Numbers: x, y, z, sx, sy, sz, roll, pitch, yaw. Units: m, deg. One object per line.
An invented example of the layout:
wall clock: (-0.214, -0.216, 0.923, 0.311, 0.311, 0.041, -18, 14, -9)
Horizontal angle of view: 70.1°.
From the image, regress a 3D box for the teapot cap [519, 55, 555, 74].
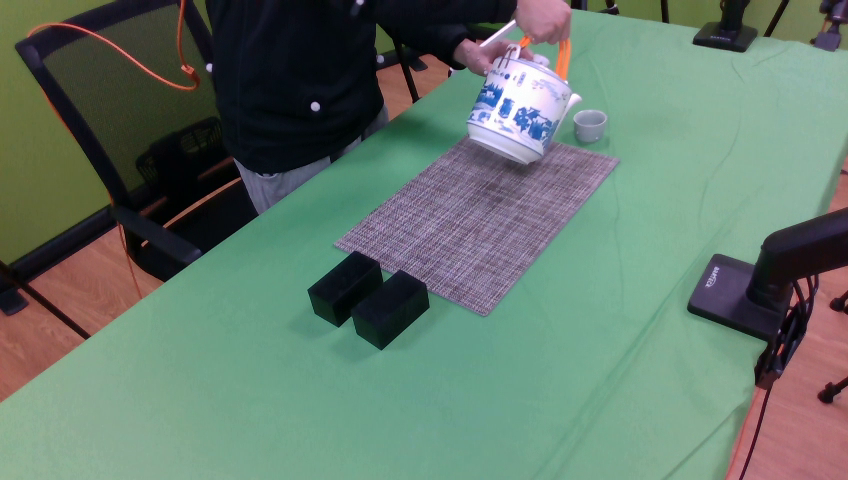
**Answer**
teapot cap: (0.192, -0.288, 1.022, 0.084, 0.086, 0.044, 30, 96, 36)

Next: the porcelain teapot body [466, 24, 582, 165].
porcelain teapot body: (0.195, -0.246, 1.048, 0.207, 0.225, 0.144, 19, 7, -43)

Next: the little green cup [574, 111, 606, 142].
little green cup: (0.318, -0.218, 1.164, 0.061, 0.039, 0.061, -3, 41, 3)
